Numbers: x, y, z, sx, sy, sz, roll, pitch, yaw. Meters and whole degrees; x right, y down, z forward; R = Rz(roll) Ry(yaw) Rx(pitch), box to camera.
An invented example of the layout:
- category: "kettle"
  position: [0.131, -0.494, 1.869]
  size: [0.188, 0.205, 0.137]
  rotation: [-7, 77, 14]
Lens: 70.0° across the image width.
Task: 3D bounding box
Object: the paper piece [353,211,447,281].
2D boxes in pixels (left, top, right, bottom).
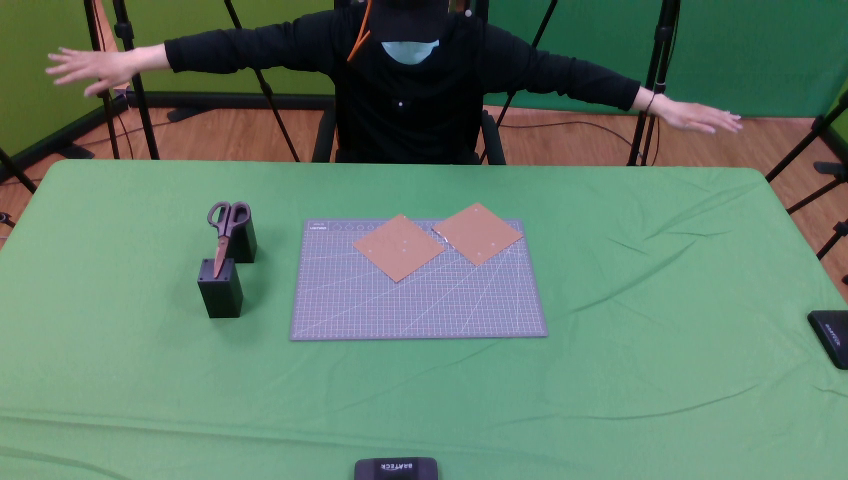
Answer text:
- category: "paper piece"
  position: [-0.047, 0.008, 1.188]
  size: [0.135, 0.004, 0.134]
  rotation: [-34, 57, -30]

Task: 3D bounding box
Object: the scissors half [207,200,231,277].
- category: "scissors half"
  position: [-0.352, -0.005, 1.043]
  size: [0.040, 0.013, 0.174]
  rotation: [-4, 49, -15]

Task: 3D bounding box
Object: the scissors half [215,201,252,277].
- category: "scissors half"
  position: [-0.332, -0.005, 1.046]
  size: [0.040, 0.013, 0.174]
  rotation: [6, 48, 1]

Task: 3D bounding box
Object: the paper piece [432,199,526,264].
- category: "paper piece"
  position: [0.111, -0.021, 1.227]
  size: [0.138, 0.009, 0.135]
  rotation: [-29, 58, -29]
